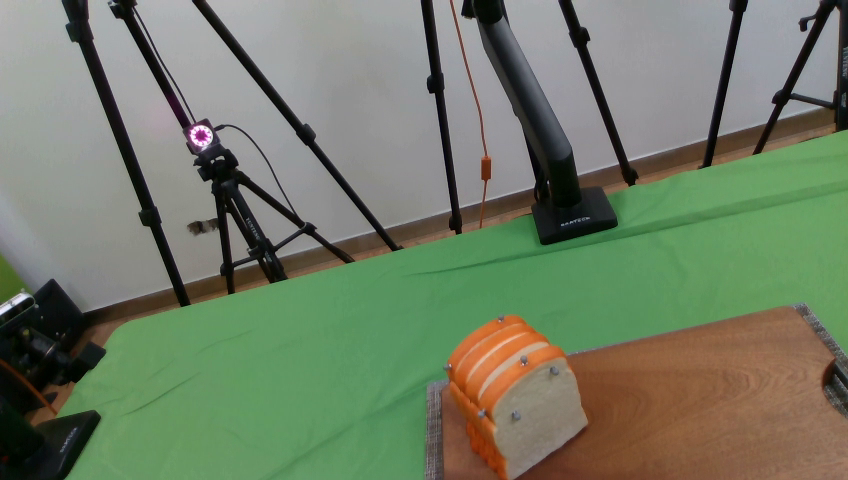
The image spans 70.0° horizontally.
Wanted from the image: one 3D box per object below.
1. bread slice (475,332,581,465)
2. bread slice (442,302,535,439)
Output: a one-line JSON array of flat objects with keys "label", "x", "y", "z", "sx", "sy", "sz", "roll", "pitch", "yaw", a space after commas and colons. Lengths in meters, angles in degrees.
[{"label": "bread slice", "x": 0.098, "y": 0.148, "z": 0.567, "sx": 0.105, "sy": 0.133, "sz": 0.019, "roll": -33, "pitch": 40, "yaw": -14}, {"label": "bread slice", "x": 0.075, "y": 0.128, "z": 0.609, "sx": 0.107, "sy": 0.135, "sz": 0.018, "roll": -28, "pitch": 31, "yaw": -16}]
